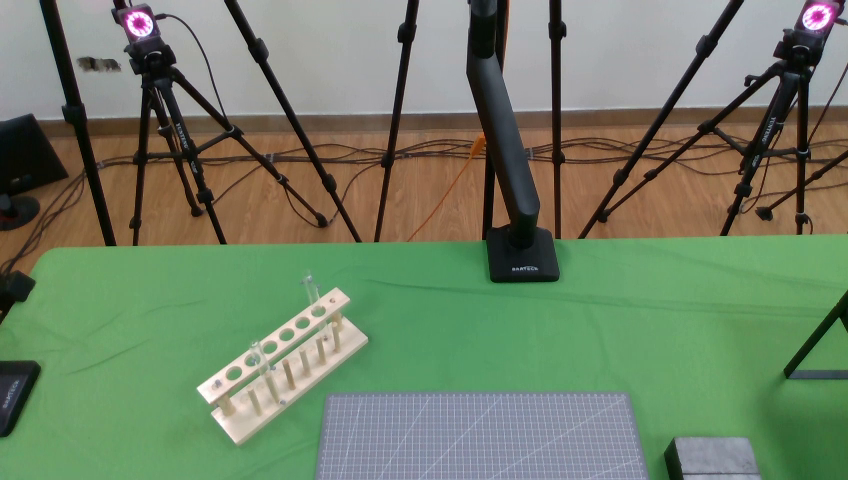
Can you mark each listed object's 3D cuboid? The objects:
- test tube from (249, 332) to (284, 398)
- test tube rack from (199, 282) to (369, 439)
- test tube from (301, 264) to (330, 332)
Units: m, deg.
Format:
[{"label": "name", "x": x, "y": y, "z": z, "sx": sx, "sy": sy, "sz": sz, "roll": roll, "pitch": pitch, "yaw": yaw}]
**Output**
[{"label": "test tube", "x": -0.216, "y": 0.175, "z": 0.834, "sx": 0.017, "sy": 0.152, "sz": 0.017, "roll": -2, "pitch": 46, "yaw": 2}, {"label": "test tube rack", "x": -0.198, "y": 0.173, "z": 0.895, "sx": 0.242, "sy": 0.086, "sz": 0.066, "roll": -37, "pitch": 57, "yaw": -28}, {"label": "test tube", "x": -0.160, "y": 0.090, "z": 0.902, "sx": 0.017, "sy": 0.151, "sz": 0.017, "roll": -3, "pitch": 46, "yaw": 3}]
